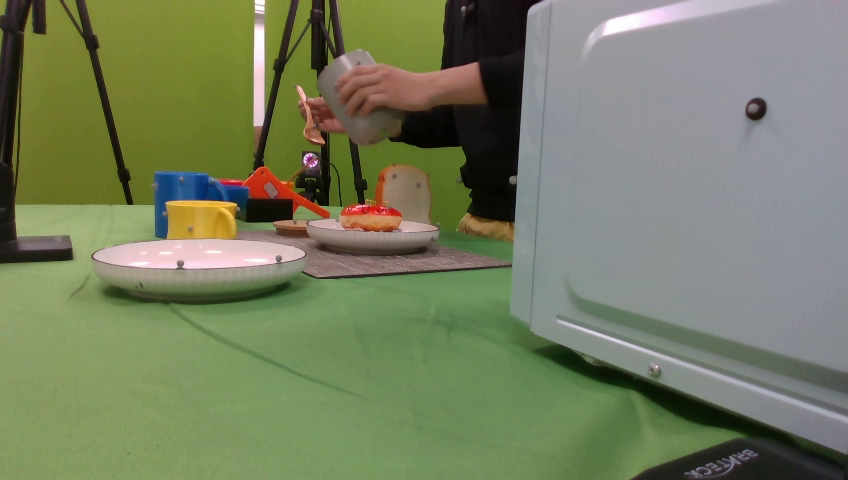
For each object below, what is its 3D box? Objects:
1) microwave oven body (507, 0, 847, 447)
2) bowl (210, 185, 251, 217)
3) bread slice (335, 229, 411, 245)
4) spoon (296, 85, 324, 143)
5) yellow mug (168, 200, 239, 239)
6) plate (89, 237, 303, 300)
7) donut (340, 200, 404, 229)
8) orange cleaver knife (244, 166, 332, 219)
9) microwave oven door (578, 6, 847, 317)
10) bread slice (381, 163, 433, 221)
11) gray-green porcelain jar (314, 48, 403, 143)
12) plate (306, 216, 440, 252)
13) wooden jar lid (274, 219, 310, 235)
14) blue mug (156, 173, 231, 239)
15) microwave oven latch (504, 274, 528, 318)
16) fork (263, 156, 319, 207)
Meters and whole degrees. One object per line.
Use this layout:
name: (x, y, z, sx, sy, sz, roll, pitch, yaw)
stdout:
microwave oven body: (0.331, -0.042, 0.425, 0.444, 0.260, 0.324, -2, 8, -31)
bowl: (-0.408, -0.064, 1.155, 0.151, 0.077, 0.151, 2, 8, 0)
bread slice: (-0.075, -0.006, 0.938, 0.105, 0.019, 0.131, -1, 4, -19)
spoon: (-0.226, -0.248, 1.179, 0.042, 0.021, 0.193, 11, 43, -34)
yellow mug: (-0.319, -0.023, 0.904, 0.130, 0.064, 0.100, 9, 11, 36)
plate: (-0.233, 0.029, 0.637, 0.208, 0.039, 0.207, 2, 7, 0)
donut: (-0.081, -0.038, 0.944, 0.099, 0.048, 0.099, 1, 4, 0)
orange cleaver knife: (-0.301, -0.089, 1.351, 0.212, 0.077, 0.012, 32, -11, -34)
microwave oven door: (0.294, -0.067, 0.570, 0.358, 0.243, 0.039, -3, 9, -31)
bread slice: (-0.035, -0.076, 1.124, 0.107, 0.134, 0.018, -3, 1, -25)
gray-green porcelain jar: (-0.104, -0.234, 1.001, 0.106, 0.126, 0.106, -34, -7, -5)
plate: (-0.079, -0.011, 0.950, 0.209, 0.038, 0.209, 2, 7, 0)
wooden jar lid: (-0.213, -0.023, 1.080, 0.108, 0.020, 0.108, 3, 7, 0)
blue mug: (-0.381, -0.057, 1.004, 0.117, 0.106, 0.082, 0, 8, -12)
microwave oven latch: (0.100, 0.041, 0.471, 0.079, 0.029, 0.030, -1, 8, -28)
fork: (-0.331, -0.144, 1.505, 0.207, 0.018, 0.028, -42, -21, 22)
